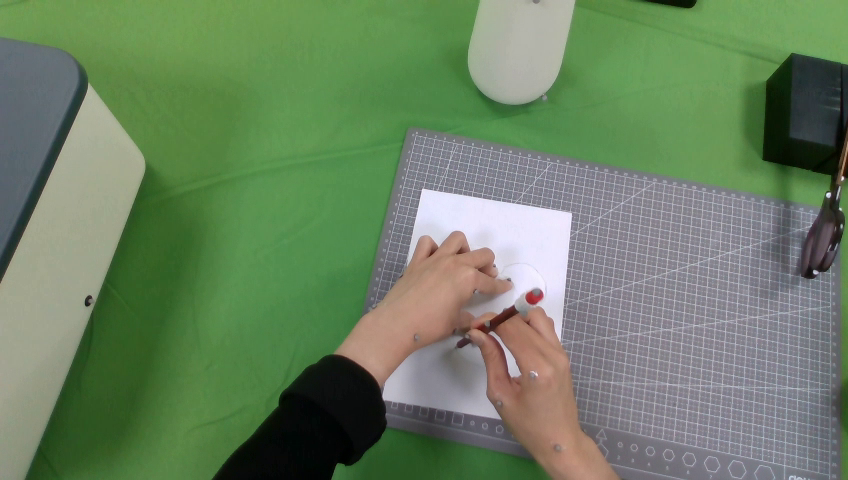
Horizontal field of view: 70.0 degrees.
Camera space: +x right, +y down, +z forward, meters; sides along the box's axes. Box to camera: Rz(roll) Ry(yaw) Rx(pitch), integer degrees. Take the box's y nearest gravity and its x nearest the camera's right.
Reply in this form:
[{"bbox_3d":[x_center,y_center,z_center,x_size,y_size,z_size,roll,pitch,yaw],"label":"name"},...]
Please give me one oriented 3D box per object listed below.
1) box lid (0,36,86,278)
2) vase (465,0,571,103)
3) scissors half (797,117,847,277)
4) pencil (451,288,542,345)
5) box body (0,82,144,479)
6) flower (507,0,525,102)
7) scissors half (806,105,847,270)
[{"bbox_3d":[-0.423,-0.004,0.425,0.263,0.015,0.369,12,71,2],"label":"box lid"},{"bbox_3d":[0.091,-0.216,0.569,0.098,0.201,0.097,0,70,0],"label":"vase"},{"bbox_3d":[0.389,-0.049,0.586,0.012,0.040,0.175,17,90,19],"label":"scissors half"},{"bbox_3d":[0.048,0.066,0.474,0.012,0.194,0.012,5,70,-13],"label":"pencil"},{"bbox_3d":[-0.425,0.023,0.495,0.254,0.161,0.362,11,72,3],"label":"box body"},{"bbox_3d":[0.088,-0.257,0.495,0.044,0.365,0.038,5,53,4],"label":"flower"},{"bbox_3d":[0.385,-0.053,0.567,0.013,0.040,0.174,17,72,14],"label":"scissors half"}]
